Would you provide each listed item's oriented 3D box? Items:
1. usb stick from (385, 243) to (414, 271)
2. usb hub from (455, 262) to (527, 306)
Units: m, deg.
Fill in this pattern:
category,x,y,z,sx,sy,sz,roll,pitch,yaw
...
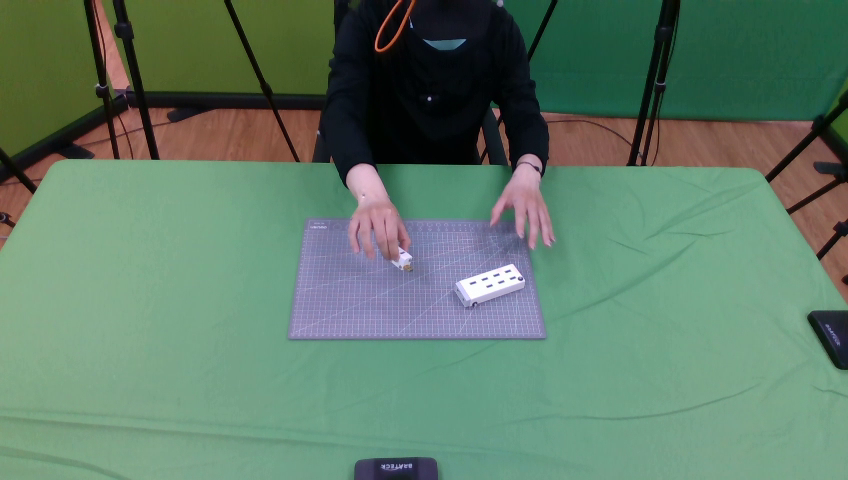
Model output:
category,x,y,z,sx,sy,sz,roll,pitch,yaw
usb stick,-0.039,0.032,1.066,0.059,0.027,0.021,39,31,22
usb hub,0.124,0.081,1.117,0.125,0.025,0.049,-17,50,-18
